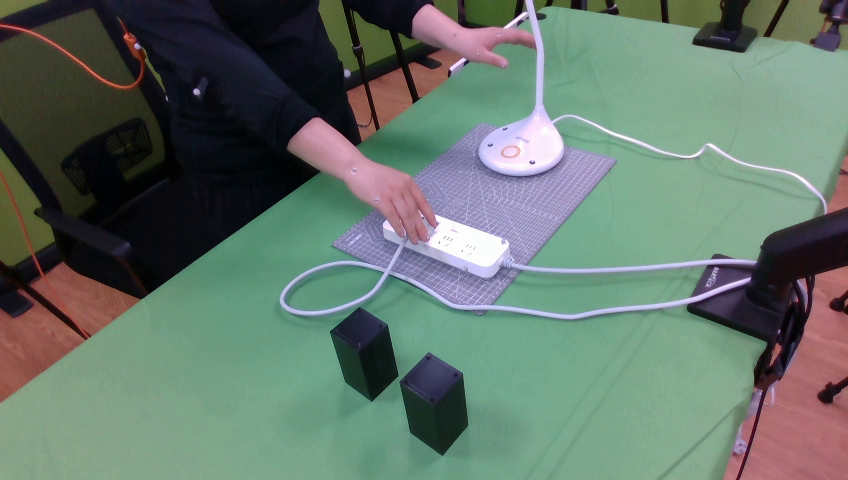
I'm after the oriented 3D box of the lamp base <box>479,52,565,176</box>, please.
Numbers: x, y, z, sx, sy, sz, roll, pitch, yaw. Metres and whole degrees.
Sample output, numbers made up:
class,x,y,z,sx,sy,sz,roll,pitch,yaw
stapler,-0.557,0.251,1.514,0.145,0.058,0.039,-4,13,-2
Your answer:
class,x,y,z,sx,sy,sz,roll,pitch,yaw
lamp base,0.181,-0.235,1.094,0.159,0.181,0.179,18,44,27

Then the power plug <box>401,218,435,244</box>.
class,x,y,z,sx,sy,sz,roll,pitch,yaw
power plug,-0.014,-0.005,0.938,0.073,0.053,0.035,-38,47,-25

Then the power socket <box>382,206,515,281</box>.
class,x,y,z,sx,sy,sz,roll,pitch,yaw
power socket,0.032,0.002,0.950,0.225,0.033,0.072,21,49,29
